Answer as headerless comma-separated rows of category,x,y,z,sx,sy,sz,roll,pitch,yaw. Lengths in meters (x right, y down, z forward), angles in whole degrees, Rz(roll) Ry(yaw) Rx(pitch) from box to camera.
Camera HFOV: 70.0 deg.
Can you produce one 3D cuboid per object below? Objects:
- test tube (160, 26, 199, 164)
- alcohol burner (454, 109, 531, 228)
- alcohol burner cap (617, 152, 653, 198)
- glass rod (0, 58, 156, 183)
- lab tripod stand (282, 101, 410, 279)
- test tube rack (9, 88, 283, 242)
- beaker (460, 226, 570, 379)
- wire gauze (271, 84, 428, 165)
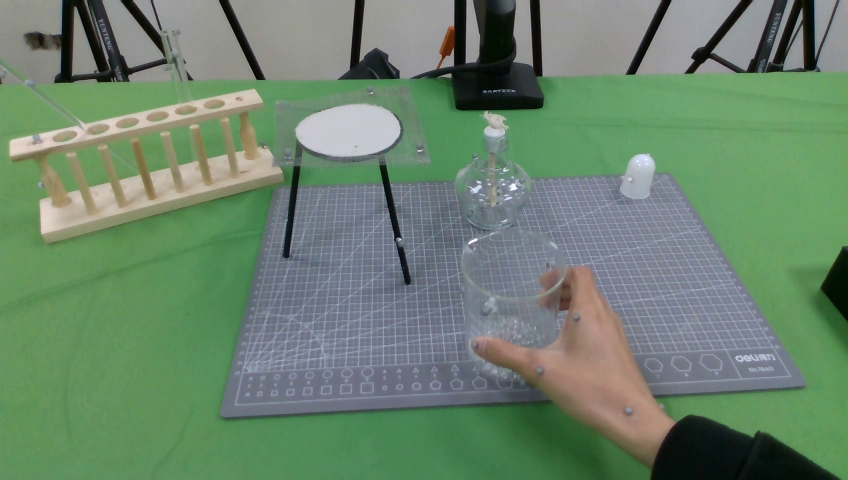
test tube,-0.250,-0.146,0.635,0.017,0.151,0.017,1,37,0
alcohol burner,0.068,-0.072,0.598,0.078,0.120,0.077,-1,39,1
alcohol burner cap,0.229,-0.073,0.655,0.034,0.048,0.033,0,40,0
glass rod,-0.340,-0.116,0.589,0.008,0.202,0.008,-17,49,22
lab tripod stand,-0.065,-0.046,0.551,0.148,0.132,0.147,0,42,1
test tube rack,-0.282,-0.084,0.637,0.243,0.086,0.066,-18,43,-20
beaker,0.063,0.049,0.458,0.083,0.101,0.074,27,50,31
wire gauze,-0.066,-0.097,0.507,0.125,0.011,0.120,-6,41,-6
